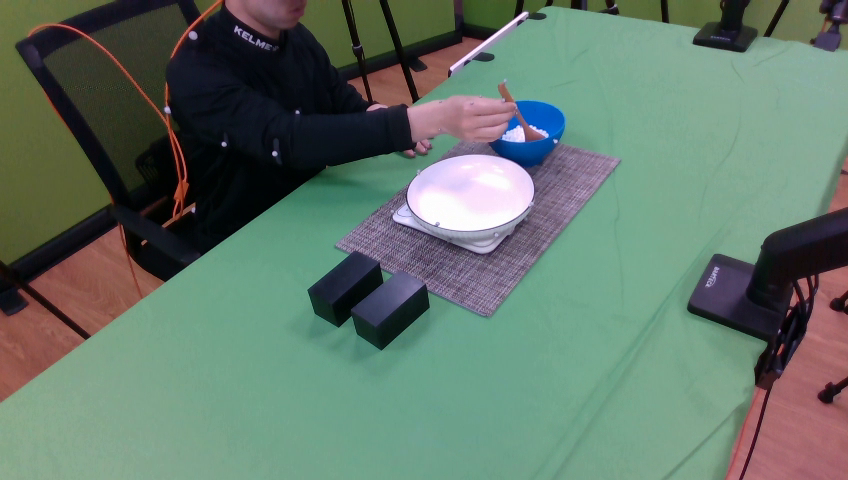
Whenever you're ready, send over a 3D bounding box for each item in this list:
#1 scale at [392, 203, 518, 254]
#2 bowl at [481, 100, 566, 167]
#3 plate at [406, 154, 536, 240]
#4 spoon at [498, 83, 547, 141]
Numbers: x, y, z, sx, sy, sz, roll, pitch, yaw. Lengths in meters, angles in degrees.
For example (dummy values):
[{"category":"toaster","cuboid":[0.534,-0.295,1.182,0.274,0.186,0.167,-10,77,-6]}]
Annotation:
[{"category":"scale","cuboid":[0.060,-0.050,1.006,0.199,0.032,0.149,22,48,30]},{"category":"bowl","cuboid":[0.183,-0.187,1.111,0.151,0.077,0.150,-4,41,4]},{"category":"plate","cuboid":[0.075,-0.067,0.973,0.209,0.038,0.208,-4,41,4]},{"category":"spoon","cuboid":[0.164,-0.203,1.020,0.041,0.195,0.021,-32,49,16]}]
